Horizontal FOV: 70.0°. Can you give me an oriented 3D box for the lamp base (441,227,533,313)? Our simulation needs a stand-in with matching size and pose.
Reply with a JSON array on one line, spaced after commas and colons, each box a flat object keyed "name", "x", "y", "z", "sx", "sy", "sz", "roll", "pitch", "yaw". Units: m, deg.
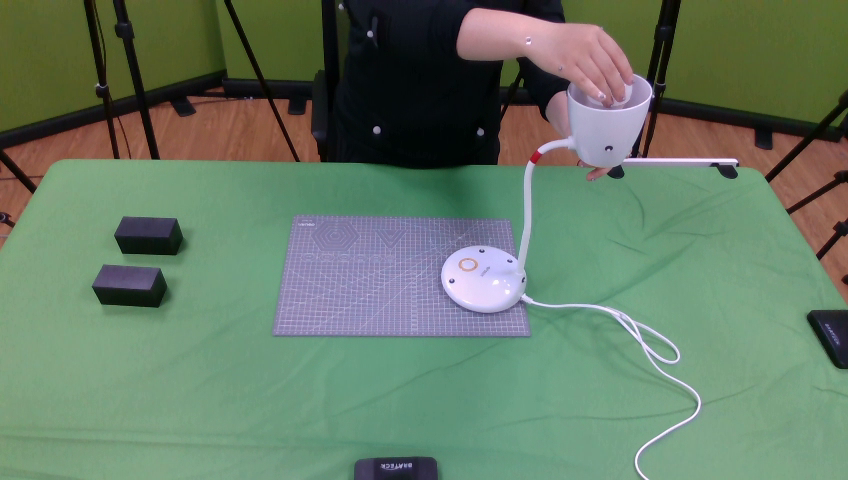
[{"name": "lamp base", "x": 0.126, "y": 0.022, "z": 1.071, "sx": 0.179, "sy": 0.181, "sz": 0.160, "roll": 23, "pitch": 49, "yaw": 14}]

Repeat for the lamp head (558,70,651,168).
[{"name": "lamp head", "x": 0.251, "y": -0.163, "z": 0.859, "sx": 0.112, "sy": 0.123, "sz": 0.111, "roll": 0, "pitch": 43, "yaw": 0}]

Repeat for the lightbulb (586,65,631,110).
[{"name": "lightbulb", "x": 0.255, "y": -0.189, "z": 0.841, "sx": 0.059, "sy": 0.108, "sz": 0.059, "roll": -6, "pitch": 39, "yaw": 5}]
